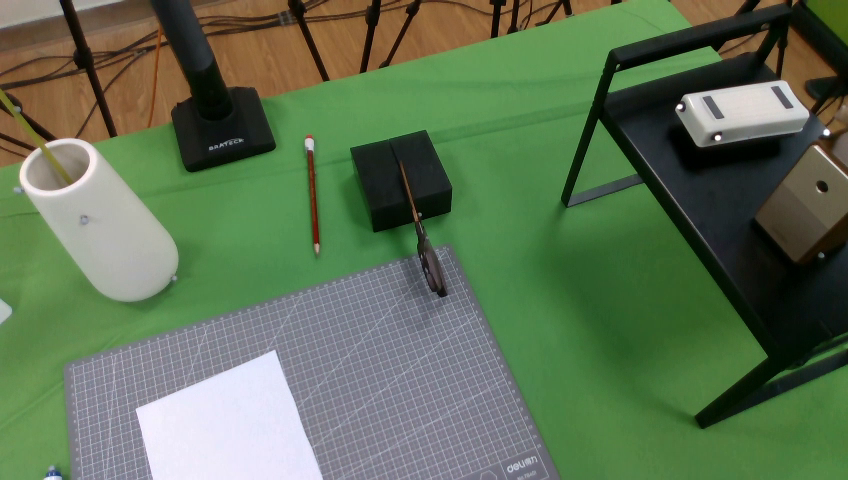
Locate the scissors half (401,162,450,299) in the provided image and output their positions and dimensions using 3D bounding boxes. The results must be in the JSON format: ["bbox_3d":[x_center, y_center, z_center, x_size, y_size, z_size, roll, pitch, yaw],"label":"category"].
[{"bbox_3d":[-0.001,-0.014,0.713,0.013,0.040,0.174,-21,79,14],"label":"scissors half"}]

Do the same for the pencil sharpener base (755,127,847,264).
[{"bbox_3d":[0.346,-0.040,0.506,0.077,0.108,0.061,-22,60,-14],"label":"pencil sharpener base"}]

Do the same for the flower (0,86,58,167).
[{"bbox_3d":[-0.344,-0.066,0.571,0.044,0.365,0.038,-24,44,-11],"label":"flower"}]

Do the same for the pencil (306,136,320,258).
[{"bbox_3d":[-0.142,-0.059,0.779,0.012,0.012,0.192,-7,60,-5],"label":"pencil"}]

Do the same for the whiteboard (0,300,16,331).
[{"bbox_3d":[-0.617,0.039,0.573,0.142,0.309,0.216,21,59,34],"label":"whiteboard"}]

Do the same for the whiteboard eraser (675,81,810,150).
[{"bbox_3d":[0.310,-0.120,0.593,0.113,0.042,0.055,-10,60,-7],"label":"whiteboard eraser"}]

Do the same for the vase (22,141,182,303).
[{"bbox_3d":[-0.332,-0.013,0.637,0.098,0.201,0.097,0,57,1],"label":"vase"}]

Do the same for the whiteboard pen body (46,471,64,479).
[{"bbox_3d":[-0.346,0.284,0.557,0.017,0.017,0.139,-11,57,-7],"label":"whiteboard pen body"}]

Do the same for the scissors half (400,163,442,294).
[{"bbox_3d":[-0.007,-0.019,0.694,0.013,0.040,0.173,-20,61,8],"label":"scissors half"}]
